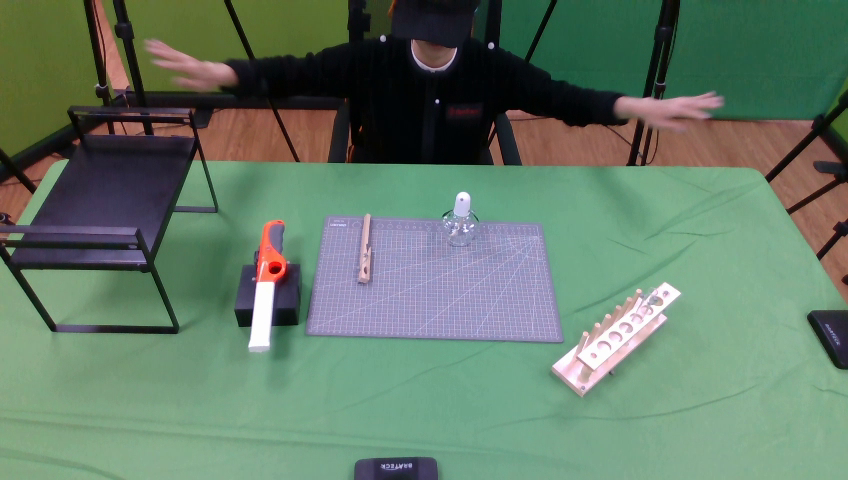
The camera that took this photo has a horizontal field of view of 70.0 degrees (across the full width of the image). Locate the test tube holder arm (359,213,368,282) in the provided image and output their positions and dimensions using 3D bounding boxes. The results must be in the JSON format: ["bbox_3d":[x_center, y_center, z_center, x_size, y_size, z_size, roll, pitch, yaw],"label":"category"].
[{"bbox_3d":[-0.116,0.011,1.172,0.013,0.015,0.177,28,37,-29],"label":"test tube holder arm"}]

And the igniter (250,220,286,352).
[{"bbox_3d":[-0.269,0.068,1.041,0.057,0.025,0.274,0,48,-7],"label":"igniter"}]

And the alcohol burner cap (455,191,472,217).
[{"bbox_3d":[0.076,-0.071,1.151,0.034,0.048,0.033,2,43,-2],"label":"alcohol burner cap"}]

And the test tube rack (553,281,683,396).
[{"bbox_3d":[0.329,0.153,1.022,0.242,0.085,0.066,-30,54,-28],"label":"test tube rack"}]

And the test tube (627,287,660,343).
[{"bbox_3d":[0.351,0.125,0.983,0.017,0.151,0.017,1,50,-1],"label":"test tube"}]

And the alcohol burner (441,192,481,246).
[{"bbox_3d":[0.073,-0.046,1.176,0.078,0.119,0.077,2,44,-2],"label":"alcohol burner"}]

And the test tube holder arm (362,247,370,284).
[{"bbox_3d":[-0.109,0.046,1.144,0.010,0.015,0.087,29,37,-28],"label":"test tube holder arm"}]
